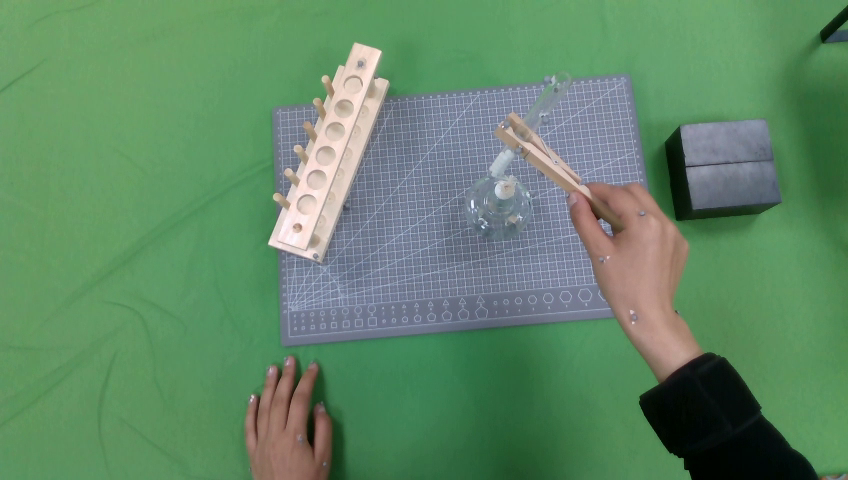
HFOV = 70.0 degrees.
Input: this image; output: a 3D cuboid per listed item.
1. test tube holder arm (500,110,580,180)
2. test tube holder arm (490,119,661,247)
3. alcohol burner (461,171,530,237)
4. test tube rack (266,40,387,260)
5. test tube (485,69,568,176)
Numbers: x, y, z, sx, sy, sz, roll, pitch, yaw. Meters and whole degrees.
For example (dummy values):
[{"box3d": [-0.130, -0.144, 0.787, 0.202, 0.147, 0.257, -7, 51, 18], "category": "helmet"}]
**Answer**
[{"box3d": [0.103, -0.082, 0.540, 0.087, 0.015, 0.010, 44, 62, 4], "category": "test tube holder arm"}, {"box3d": [0.134, -0.050, 0.537, 0.178, 0.015, 0.013, 37, 62, 0], "category": "test tube holder arm"}, {"box3d": [0.081, -0.044, 0.673, 0.078, 0.119, 0.077, 0, 78, 0], "category": "alcohol burner"}, {"box3d": [-0.118, -0.106, 0.704, 0.066, 0.085, 0.241, 19, 80, 6], "category": "test tube rack"}, {"box3d": [0.085, -0.097, 0.532, 0.017, 0.151, 0.017, 6, 65, -14], "category": "test tube"}]
